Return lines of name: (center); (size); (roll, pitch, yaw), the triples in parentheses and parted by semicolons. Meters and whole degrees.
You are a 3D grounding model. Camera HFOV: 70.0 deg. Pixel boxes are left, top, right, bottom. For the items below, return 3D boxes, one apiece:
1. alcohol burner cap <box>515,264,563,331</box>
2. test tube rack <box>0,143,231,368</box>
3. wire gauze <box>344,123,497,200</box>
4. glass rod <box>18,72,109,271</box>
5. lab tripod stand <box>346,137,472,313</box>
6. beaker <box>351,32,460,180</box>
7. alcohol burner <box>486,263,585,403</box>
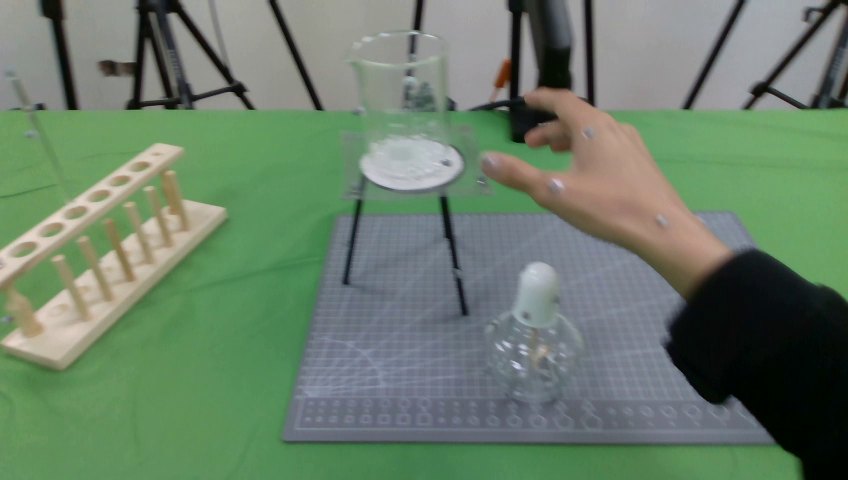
alcohol burner cap: (0.085, 0.040, 0.442); (0.034, 0.048, 0.033); (1, 35, 0)
test tube rack: (-0.295, 0.002, 0.589); (0.066, 0.086, 0.241); (13, 39, 17)
wire gauze: (-0.007, -0.068, 0.520); (0.125, 0.011, 0.120); (-5, 36, -1)
glass rod: (-0.324, -0.052, 0.551); (0.008, 0.201, 0.008); (-4, 31, 3)
lab tripod stand: (-0.006, -0.016, 0.561); (0.148, 0.132, 0.147); (-1, 39, 1)
beaker: (-0.013, -0.106, 0.490); (0.084, 0.101, 0.073); (-4, 37, -2)
alcohol burner: (0.087, 0.068, 0.465); (0.078, 0.120, 0.077); (-1, 36, 1)
